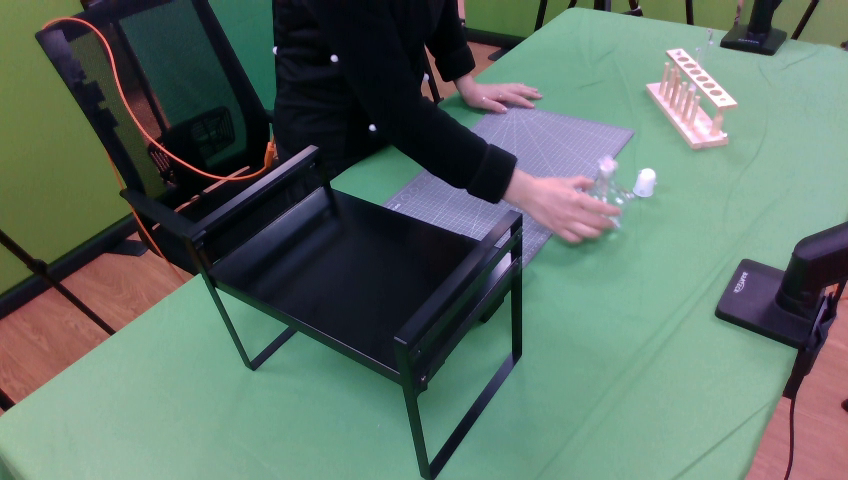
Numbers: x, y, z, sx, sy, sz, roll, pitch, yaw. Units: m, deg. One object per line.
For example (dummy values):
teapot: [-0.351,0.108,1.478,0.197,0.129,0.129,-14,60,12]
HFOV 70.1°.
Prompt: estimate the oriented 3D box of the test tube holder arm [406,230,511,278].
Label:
test tube holder arm: [0.046,0.018,0.877,0.177,0.015,0.013,20,63,30]

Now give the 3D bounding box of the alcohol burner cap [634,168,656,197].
alcohol burner cap: [0.374,-0.099,1.018,0.034,0.048,0.033,-1,41,1]

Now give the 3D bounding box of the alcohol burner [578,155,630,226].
alcohol burner: [0.277,-0.080,0.929,0.078,0.119,0.077,-5,41,5]

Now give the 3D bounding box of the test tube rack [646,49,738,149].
test tube rack: [0.512,-0.280,1.175,0.067,0.085,0.241,-7,41,0]

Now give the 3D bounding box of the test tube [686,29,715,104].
test tube: [0.525,-0.328,1.153,0.017,0.151,0.017,-1,42,1]

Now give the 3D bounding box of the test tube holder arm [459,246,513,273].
test tube holder arm: [0.085,0.028,0.857,0.087,0.015,0.010,20,63,30]
